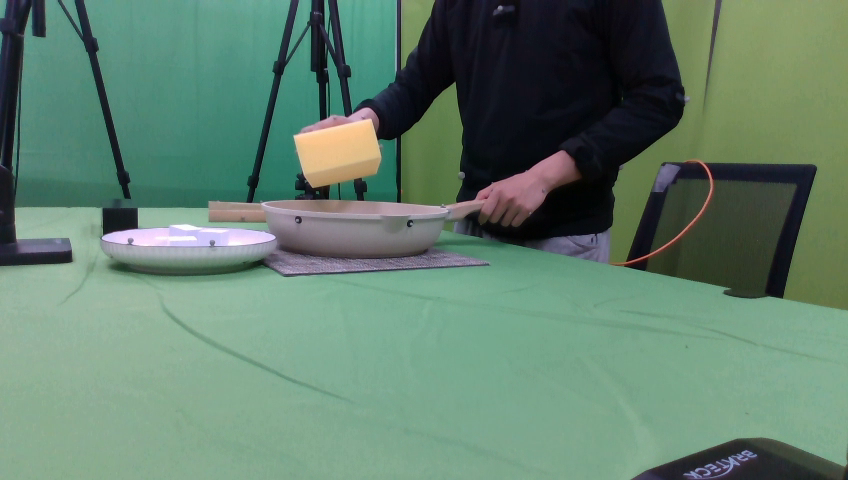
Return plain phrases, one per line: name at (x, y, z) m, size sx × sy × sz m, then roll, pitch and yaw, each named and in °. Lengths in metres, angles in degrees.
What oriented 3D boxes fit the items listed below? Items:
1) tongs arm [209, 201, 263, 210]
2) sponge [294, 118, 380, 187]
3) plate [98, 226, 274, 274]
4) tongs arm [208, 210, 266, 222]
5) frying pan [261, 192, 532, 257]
tongs arm at (-0.306, -0.071, 1.429) m, size 0.386 × 0.026 × 0.050 m, roll 1°, pitch 8°, yaw -15°
sponge at (-0.139, -0.137, 0.986) m, size 0.118 × 0.061 × 0.206 m, roll -15°, pitch 2°, yaw -7°
plate at (-0.301, 0.012, 0.778) m, size 0.208 × 0.039 × 0.207 m, roll 3°, pitch 7°, yaw 0°
tongs arm at (-0.280, -0.056, 1.355) m, size 0.389 × 0.028 × 0.028 m, roll -2°, pitch 6°, yaw -28°
frying pan at (-0.016, -0.043, 1.006) m, size 0.490 × 0.102 × 0.305 m, roll -11°, pitch 13°, yaw -26°
